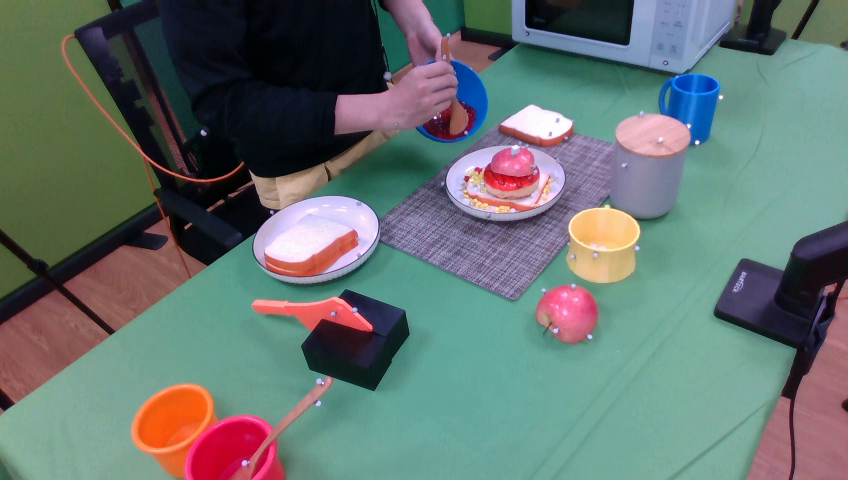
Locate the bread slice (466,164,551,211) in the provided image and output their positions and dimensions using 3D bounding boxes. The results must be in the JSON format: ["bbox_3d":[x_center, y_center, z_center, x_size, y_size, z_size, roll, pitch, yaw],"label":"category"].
[{"bbox_3d":[0.141,-0.092,1.042,0.133,0.018,0.107,11,43,19],"label":"bread slice"}]

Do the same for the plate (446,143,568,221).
[{"bbox_3d":[0.142,-0.097,1.045,0.207,0.039,0.206,-4,40,4],"label":"plate"}]

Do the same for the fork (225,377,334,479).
[{"bbox_3d":[-0.163,0.216,0.646,0.207,0.019,0.028,-49,42,16],"label":"fork"}]

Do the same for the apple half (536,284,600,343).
[{"bbox_3d":[0.196,0.091,0.815,0.075,0.053,0.080,-22,42,-20],"label":"apple half"}]

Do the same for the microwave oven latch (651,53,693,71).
[{"bbox_3d":[0.532,-0.386,1.301,0.078,0.029,0.030,27,52,34],"label":"microwave oven latch"}]

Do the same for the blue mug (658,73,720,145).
[{"bbox_3d":[0.483,-0.250,1.127,0.082,0.106,0.115,-26,44,-19],"label":"blue mug"}]

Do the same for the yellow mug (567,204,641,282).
[{"bbox_3d":[0.268,-0.005,0.905,0.099,0.064,0.130,7,42,16],"label":"yellow mug"}]

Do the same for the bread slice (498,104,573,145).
[{"bbox_3d":[0.231,-0.231,1.205,0.105,0.019,0.130,-36,47,-29],"label":"bread slice"}]

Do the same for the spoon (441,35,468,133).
[{"bbox_3d":[0.043,-0.244,0.967,0.042,0.195,0.021,-36,52,-14],"label":"spoon"}]

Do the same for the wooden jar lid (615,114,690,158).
[{"bbox_3d":[0.347,-0.155,0.923,0.108,0.021,0.108,-3,44,4],"label":"wooden jar lid"}]

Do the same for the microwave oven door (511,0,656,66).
[{"bbox_3d":[0.350,-0.539,1.348,0.353,0.245,0.039,24,50,31],"label":"microwave oven door"}]

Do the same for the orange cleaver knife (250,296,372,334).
[{"bbox_3d":[-0.159,0.103,0.828,0.210,0.078,0.012,-4,43,39],"label":"orange cleaver knife"}]

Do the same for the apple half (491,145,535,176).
[{"bbox_3d":[0.147,-0.138,0.993,0.081,0.033,0.081,1,37,0],"label":"apple half"}]

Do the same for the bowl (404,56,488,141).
[{"bbox_3d":[0.033,-0.243,1.086,0.152,0.076,0.151,2,82,-11],"label":"bowl"}]

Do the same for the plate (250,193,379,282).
[{"bbox_3d":[-0.174,-0.001,0.984,0.209,0.038,0.208,-3,40,3],"label":"plate"}]

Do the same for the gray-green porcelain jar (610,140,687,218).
[{"bbox_3d":[0.354,-0.106,0.964,0.106,0.127,0.105,-4,41,4],"label":"gray-green porcelain jar"}]

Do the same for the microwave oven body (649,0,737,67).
[{"bbox_3d":[0.475,-0.602,1.411,0.438,0.261,0.327,23,50,32],"label":"microwave oven body"}]

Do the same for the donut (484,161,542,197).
[{"bbox_3d":[0.149,-0.109,1.016,0.099,0.048,0.098,-4,40,4],"label":"donut"}]
